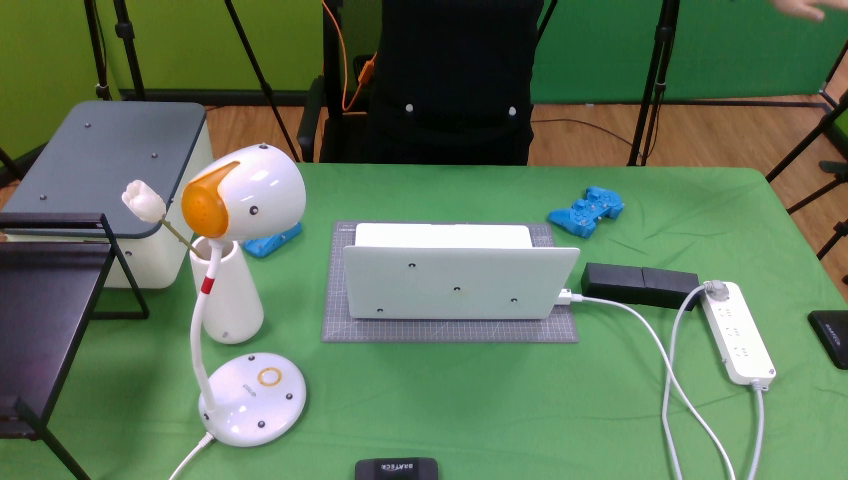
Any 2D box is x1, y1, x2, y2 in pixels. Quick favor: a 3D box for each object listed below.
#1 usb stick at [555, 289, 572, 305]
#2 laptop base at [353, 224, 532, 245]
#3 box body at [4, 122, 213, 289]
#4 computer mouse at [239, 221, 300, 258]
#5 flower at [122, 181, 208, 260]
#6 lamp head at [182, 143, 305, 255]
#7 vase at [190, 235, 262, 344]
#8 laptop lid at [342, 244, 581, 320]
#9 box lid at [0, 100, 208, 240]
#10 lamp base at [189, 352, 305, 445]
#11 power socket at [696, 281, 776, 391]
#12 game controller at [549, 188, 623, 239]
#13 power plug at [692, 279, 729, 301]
[{"bbox_3d":[0.236,0.103,1.101,0.059,0.027,0.021,0,48,1],"label":"usb stick"},{"bbox_3d":[0.040,0.056,1.149,0.355,0.023,0.234,1,43,-4],"label":"laptop base"},{"bbox_3d":[-0.563,-0.088,1.139,0.254,0.161,0.361,2,46,-3],"label":"box body"},{"bbox_3d":[-0.300,-0.016,1.178,0.062,0.041,0.117,35,58,23],"label":"computer mouse"},{"bbox_3d":[-0.329,0.029,0.905,0.038,0.364,0.044,-21,58,-1],"label":"flower"},{"bbox_3d":[-0.216,-0.044,0.697,0.112,0.113,0.123,23,31,17],"label":"lamp head"},{"bbox_3d":[-0.317,0.081,0.971,0.098,0.201,0.097,3,47,-3],"label":"vase"},{"bbox_3d":[0.051,0.074,0.969,0.357,0.243,0.013,1,56,-5],"label":"laptop lid"},{"bbox_3d":[-0.559,-0.138,1.085,0.263,0.015,0.369,2,46,-2],"label":"box lid"},{"bbox_3d":[-0.268,0.196,0.876,0.160,0.181,0.179,25,52,19],"label":"lamp base"},{"bbox_3d":[0.550,0.160,1.078,0.072,0.033,0.225,2,46,-1],"label":"power socket"},{"bbox_3d":[0.345,-0.065,1.272,0.155,0.052,0.096,-31,58,-29],"label":"game controller"},{"bbox_3d":[0.522,0.092,1.115,0.072,0.053,0.035,8,46,7],"label":"power plug"}]
